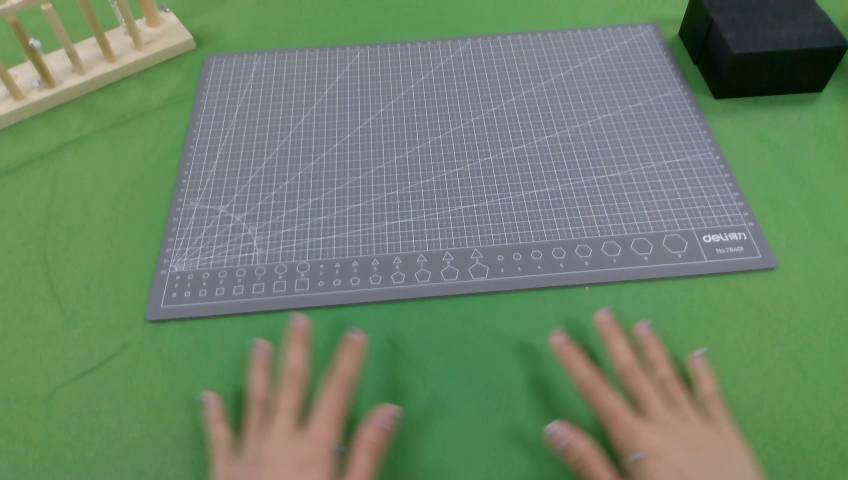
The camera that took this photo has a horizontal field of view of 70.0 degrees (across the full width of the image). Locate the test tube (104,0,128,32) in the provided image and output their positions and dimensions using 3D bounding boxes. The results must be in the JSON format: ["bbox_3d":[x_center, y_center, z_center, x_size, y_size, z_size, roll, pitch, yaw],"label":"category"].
[{"bbox_3d":[-0.302,-0.258,0.548,0.017,0.152,0.017,-3,50,4],"label":"test tube"}]

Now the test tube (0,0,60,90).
[{"bbox_3d":[-0.350,-0.190,0.506,0.017,0.152,0.017,-2,51,2],"label":"test tube"}]

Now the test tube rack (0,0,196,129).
[{"bbox_3d":[-0.348,-0.180,0.554,0.242,0.086,0.066,-31,58,-19],"label":"test tube rack"}]
